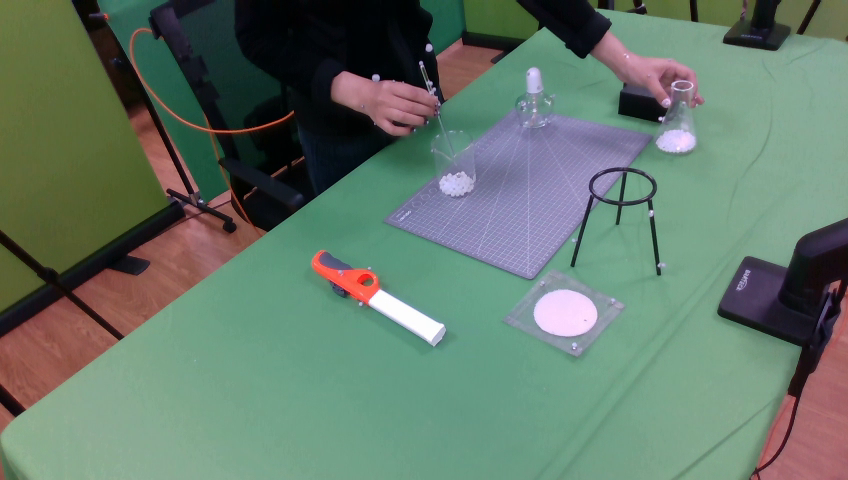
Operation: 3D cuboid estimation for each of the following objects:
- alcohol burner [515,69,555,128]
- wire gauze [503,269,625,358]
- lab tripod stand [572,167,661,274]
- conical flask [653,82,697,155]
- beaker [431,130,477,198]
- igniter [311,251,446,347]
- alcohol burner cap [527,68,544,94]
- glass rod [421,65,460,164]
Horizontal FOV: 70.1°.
[{"bbox_3d":[0.221,-0.285,1.203,0.078,0.119,0.077,-4,39,4],"label":"alcohol burner"},{"bbox_3d":[0.194,0.100,0.840,0.120,0.011,0.125,27,54,36],"label":"wire gauze"},{"bbox_3d":[0.284,-0.030,0.879,0.148,0.132,0.147,-7,38,6],"label":"lab tripod stand"},{"bbox_3d":[0.452,-0.218,1.077,0.075,0.122,0.075,-6,40,6],"label":"conical flask"},{"bbox_3d":[0.055,-0.130,1.064,0.074,0.101,0.083,-4,41,8],"label":"beaker"},{"bbox_3d":[-0.078,0.081,0.899,0.274,0.025,0.057,27,62,35],"label":"igniter"},{"bbox_3d":[0.216,-0.312,1.180,0.034,0.048,0.033,-8,43,9],"label":"alcohol burner cap"},{"bbox_3d":[0.029,-0.198,0.983,0.008,0.201,0.008,-13,45,13],"label":"glass rod"}]
